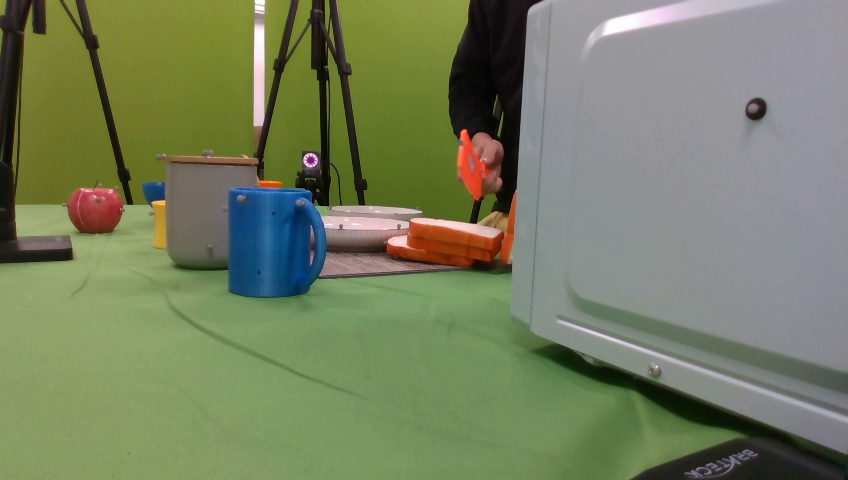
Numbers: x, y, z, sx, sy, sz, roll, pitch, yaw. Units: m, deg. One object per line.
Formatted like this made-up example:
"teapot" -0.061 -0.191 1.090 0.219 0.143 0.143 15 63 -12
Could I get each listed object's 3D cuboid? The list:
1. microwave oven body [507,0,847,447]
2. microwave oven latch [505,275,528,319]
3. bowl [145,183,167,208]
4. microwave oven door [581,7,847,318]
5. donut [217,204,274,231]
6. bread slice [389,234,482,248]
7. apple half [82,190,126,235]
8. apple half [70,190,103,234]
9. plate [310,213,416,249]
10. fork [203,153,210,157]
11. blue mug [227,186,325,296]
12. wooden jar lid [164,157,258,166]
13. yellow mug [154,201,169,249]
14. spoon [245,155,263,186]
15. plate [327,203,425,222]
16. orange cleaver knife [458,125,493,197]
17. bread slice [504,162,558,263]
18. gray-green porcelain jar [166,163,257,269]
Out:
"microwave oven body" 0.331 -0.042 0.425 0.444 0.260 0.324 -2 8 -31
"microwave oven latch" 0.100 0.041 0.471 0.079 0.029 0.030 -2 7 -29
"bowl" -0.459 -0.068 1.175 0.151 0.077 0.151 3 7 0
"microwave oven door" 0.295 -0.067 0.569 0.358 0.243 0.039 -3 8 -31
"donut" -0.317 -0.038 1.080 0.099 0.048 0.099 3 7 0
"bread slice" 0.016 0.002 0.873 0.131 0.019 0.105 1 1 2
"apple half" -0.516 -0.046 0.994 0.032 0.081 0.081 0 6 26
"apple half" -0.552 -0.047 1.009 0.053 0.074 0.081 -1 9 26
"plate" -0.116 -0.014 0.967 0.208 0.039 0.207 2 7 0
"fork" -0.480 -0.134 1.411 0.028 0.018 0.207 1 -35 0
"blue mug" -0.146 0.000 0.618 0.116 0.106 0.083 7 9 32
"wooden jar lid" -0.261 -0.093 0.746 0.108 0.020 0.108 0 9 0
"yellow mug" -0.337 -0.022 0.899 0.130 0.064 0.100 8 9 34
"spoon" -0.421 -0.150 1.540 0.042 0.021 0.193 -5 55 -37
"plate" -0.102 -0.053 1.299 0.209 0.038 0.209 2 8 0
"orange cleaver knife" 0.078 -0.104 0.890 0.012 0.077 0.212 -3 -11 17
"bread slice" 0.145 -0.035 0.807 0.018 0.134 0.107 10 4 35
"gray-green porcelain jar" -0.263 -0.031 0.754 0.106 0.126 0.106 2 7 0
